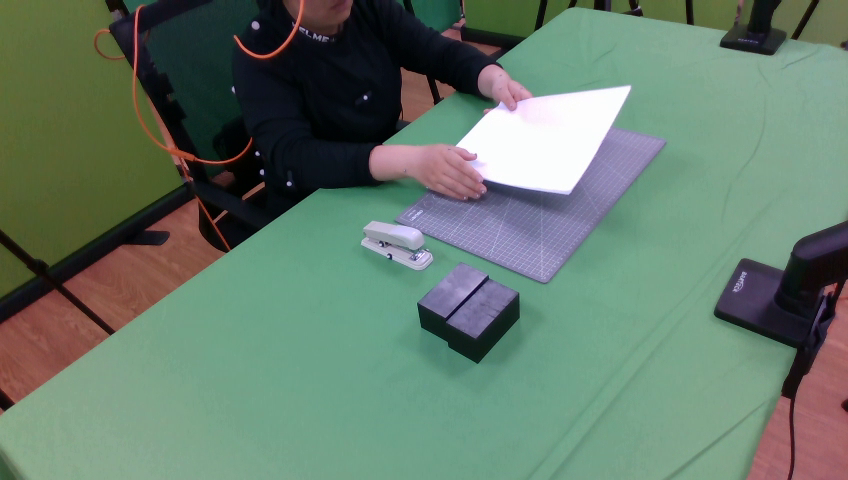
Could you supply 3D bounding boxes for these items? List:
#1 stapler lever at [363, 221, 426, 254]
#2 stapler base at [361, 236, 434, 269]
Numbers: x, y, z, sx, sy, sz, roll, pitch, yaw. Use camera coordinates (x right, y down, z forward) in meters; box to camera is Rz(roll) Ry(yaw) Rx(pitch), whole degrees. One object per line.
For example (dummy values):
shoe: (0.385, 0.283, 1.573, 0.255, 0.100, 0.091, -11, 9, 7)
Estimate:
stapler lever: (-0.048, -0.011, 0.958, 0.117, 0.040, 0.027, 21, 46, 32)
stapler base: (-0.044, 0.009, 0.974, 0.129, 0.024, 0.041, 21, 46, 32)
